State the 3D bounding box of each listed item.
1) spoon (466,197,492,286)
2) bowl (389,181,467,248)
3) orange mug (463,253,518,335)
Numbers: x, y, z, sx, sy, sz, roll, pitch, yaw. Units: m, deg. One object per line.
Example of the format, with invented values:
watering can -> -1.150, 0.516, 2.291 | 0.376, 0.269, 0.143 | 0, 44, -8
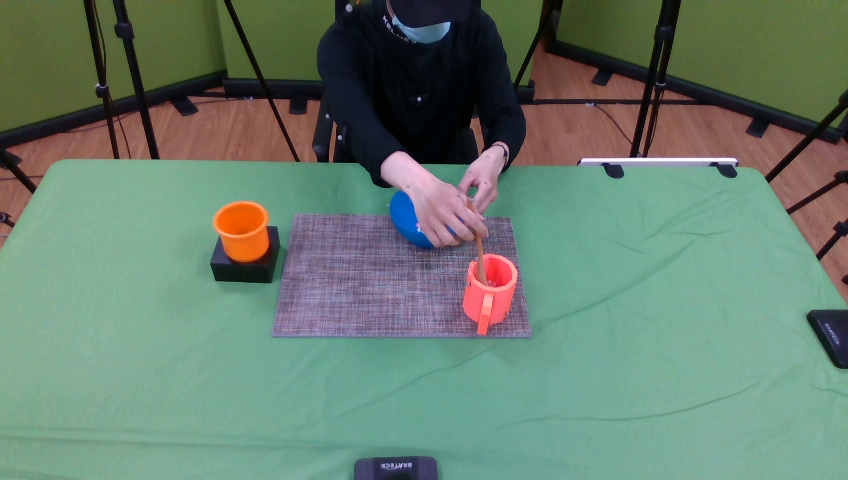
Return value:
spoon -> 0.091, 0.016, 1.006 | 0.021, 0.194, 0.041 | -24, 27, -28
bowl -> 0.006, -0.037, 1.188 | 0.151, 0.077, 0.150 | 2, 46, -2
orange mug -> 0.113, 0.098, 1.050 | 0.083, 0.101, 0.125 | 9, 41, 5
